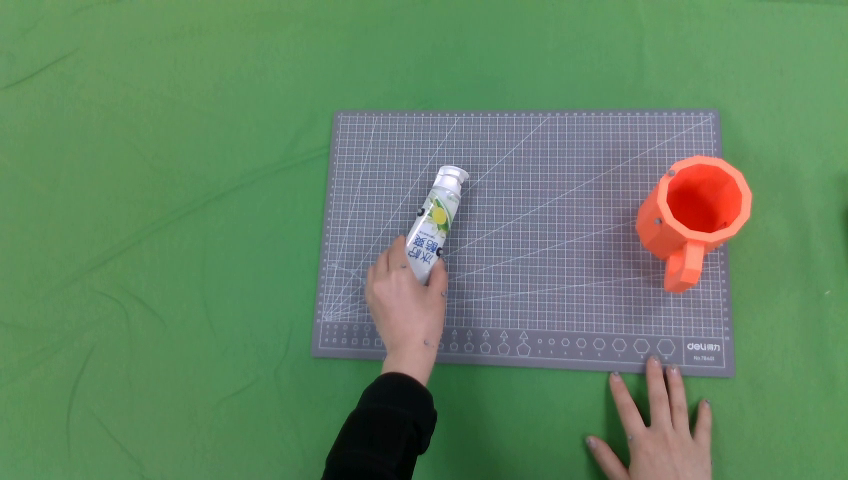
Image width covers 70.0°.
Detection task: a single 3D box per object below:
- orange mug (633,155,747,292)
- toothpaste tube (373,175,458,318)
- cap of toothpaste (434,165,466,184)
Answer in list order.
[{"bbox_3d":[0.264,-0.012,0.615,0.083,0.101,0.125,10,73,9],"label":"orange mug"},{"bbox_3d":[-0.002,0.000,0.669,0.055,0.034,0.164,21,78,5],"label":"toothpaste tube"},{"bbox_3d":[0.029,-0.073,0.685,0.037,0.037,0.011,10,73,9],"label":"cap of toothpaste"}]
